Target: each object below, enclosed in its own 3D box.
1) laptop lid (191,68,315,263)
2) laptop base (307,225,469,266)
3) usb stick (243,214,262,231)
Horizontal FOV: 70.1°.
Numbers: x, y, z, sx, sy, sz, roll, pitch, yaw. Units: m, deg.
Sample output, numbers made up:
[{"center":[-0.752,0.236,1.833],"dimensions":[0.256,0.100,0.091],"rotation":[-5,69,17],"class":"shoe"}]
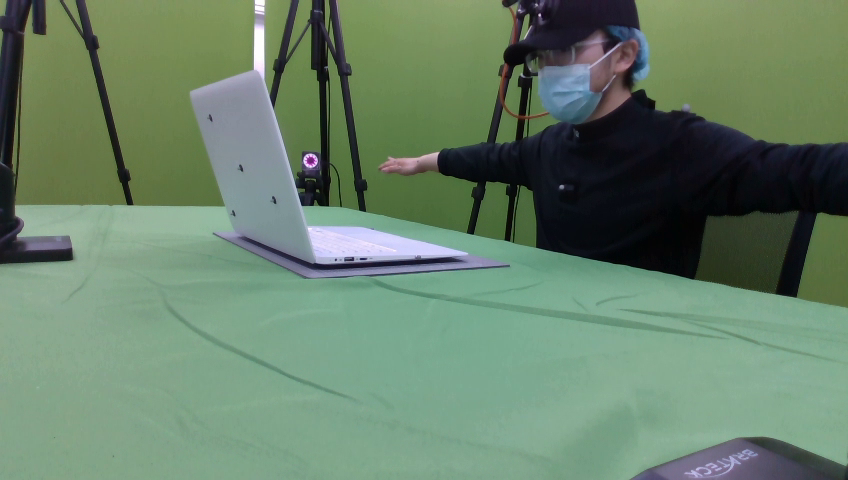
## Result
[{"center":[-0.250,-0.102,0.838],"dimensions":[0.013,0.242,0.355],"rotation":[-22,20,-29],"class":"laptop lid"},{"center":[-0.125,0.005,0.936],"dimensions":[0.237,0.023,0.352],"rotation":[1,7,-33],"class":"laptop base"},{"center":[-0.297,-0.030,1.053],"dimensions":[0.021,0.027,0.059],"rotation":[0,10,-31],"class":"usb stick"}]
